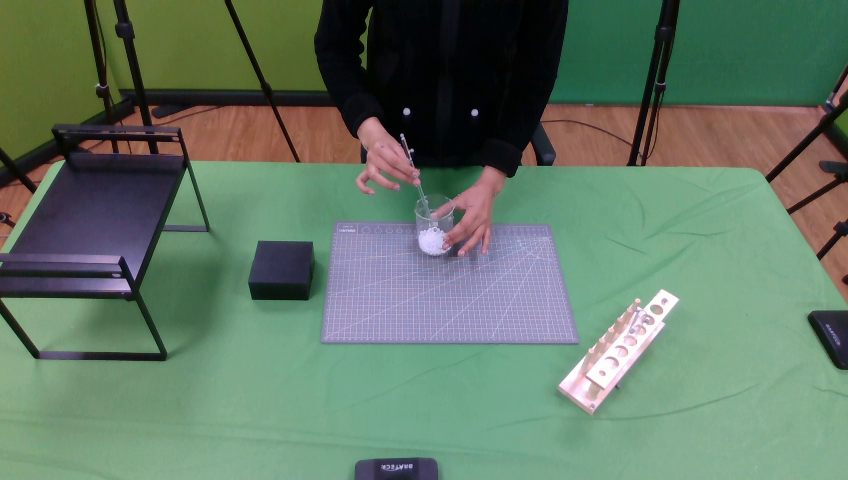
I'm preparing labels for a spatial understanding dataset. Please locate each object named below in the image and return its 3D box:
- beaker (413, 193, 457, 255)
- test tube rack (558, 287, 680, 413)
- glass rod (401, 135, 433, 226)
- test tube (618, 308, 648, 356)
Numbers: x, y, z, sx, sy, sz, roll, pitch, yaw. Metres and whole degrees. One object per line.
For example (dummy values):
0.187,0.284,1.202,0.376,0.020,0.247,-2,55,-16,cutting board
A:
0.023,-0.028,1.149,0.084,0.101,0.073,-15,45,-11,beaker
0.326,0.170,1.009,0.066,0.085,0.242,36,54,26,test tube rack
-0.010,-0.101,1.069,0.008,0.201,0.008,-11,40,10,glass rod
0.326,0.155,0.955,0.017,0.151,0.017,-1,50,1,test tube
